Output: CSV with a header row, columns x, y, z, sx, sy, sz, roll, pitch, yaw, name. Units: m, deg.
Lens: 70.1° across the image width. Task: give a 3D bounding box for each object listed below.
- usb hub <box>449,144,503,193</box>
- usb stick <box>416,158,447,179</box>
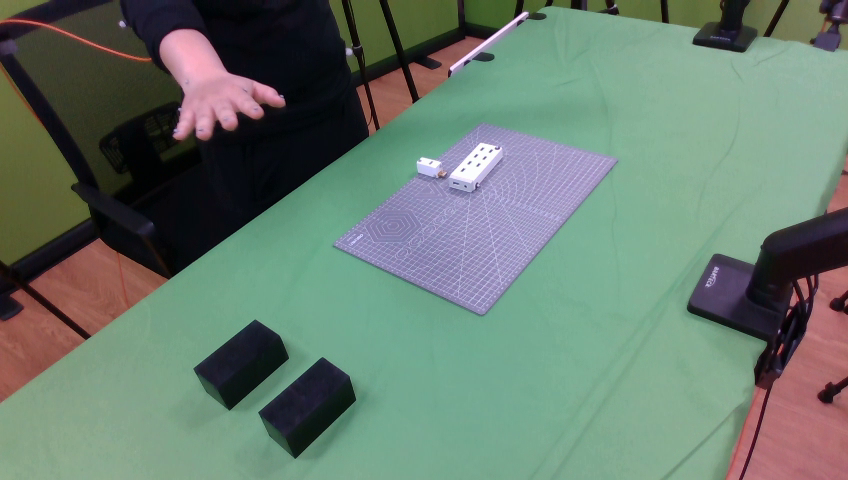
x,y,z,sx,sy,sz,roll,pitch,yaw,name
0.096,-0.132,1.105,0.049,0.025,0.125,18,47,27,usb hub
0.016,-0.130,1.114,0.059,0.027,0.021,22,45,26,usb stick
